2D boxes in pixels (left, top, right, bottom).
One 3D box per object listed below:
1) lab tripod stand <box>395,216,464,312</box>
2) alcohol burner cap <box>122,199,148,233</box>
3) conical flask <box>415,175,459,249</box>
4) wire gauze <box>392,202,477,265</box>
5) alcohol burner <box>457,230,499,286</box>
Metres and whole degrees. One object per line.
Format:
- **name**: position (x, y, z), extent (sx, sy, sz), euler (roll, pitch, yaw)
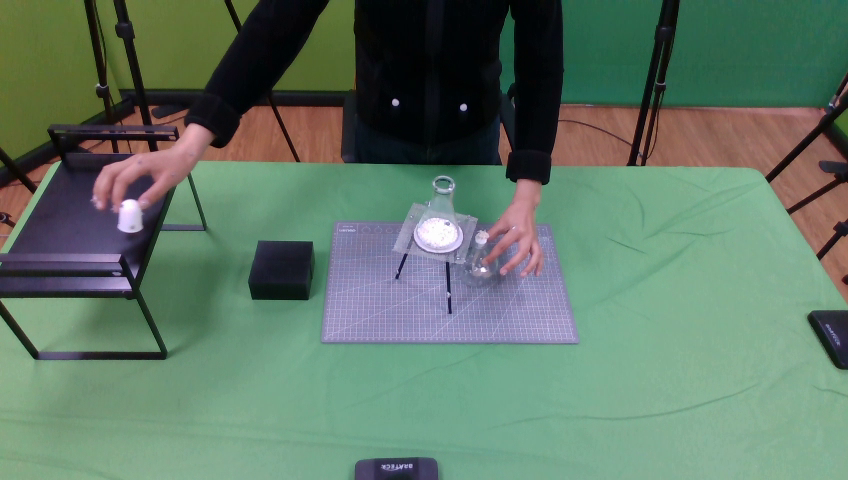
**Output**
- **lab tripod stand**: position (0.023, 0.037, 1.084), extent (0.148, 0.132, 0.147), euler (4, 46, -4)
- **alcohol burner cap**: position (-0.421, -0.037, 0.883), extent (0.034, 0.048, 0.033), euler (12, 32, -7)
- **conical flask**: position (0.026, -0.049, 0.993), extent (0.075, 0.122, 0.075), euler (3, 47, -3)
- **wire gauze**: position (0.021, -0.011, 1.037), extent (0.121, 0.011, 0.124), euler (13, 49, 8)
- **alcohol burner**: position (0.101, 0.028, 1.112), extent (0.078, 0.119, 0.077), euler (2, 44, -2)
